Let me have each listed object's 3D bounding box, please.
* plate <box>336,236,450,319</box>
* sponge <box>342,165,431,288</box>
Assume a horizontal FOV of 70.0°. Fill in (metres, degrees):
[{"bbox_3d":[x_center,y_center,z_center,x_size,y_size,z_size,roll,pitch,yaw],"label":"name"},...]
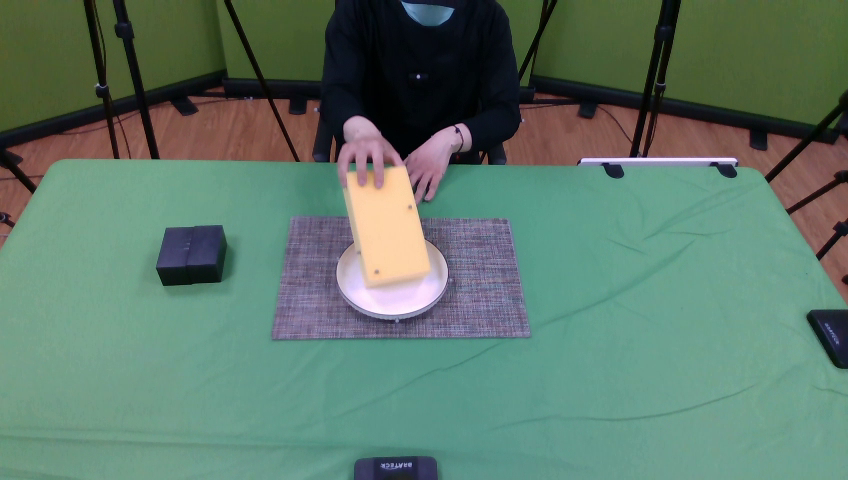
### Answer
[{"bbox_3d":[-0.056,0.065,1.113,0.208,0.039,0.206,2,46,-2],"label":"plate"},{"bbox_3d":[-0.071,-0.025,1.107,0.118,0.061,0.206,-11,77,-15],"label":"sponge"}]
